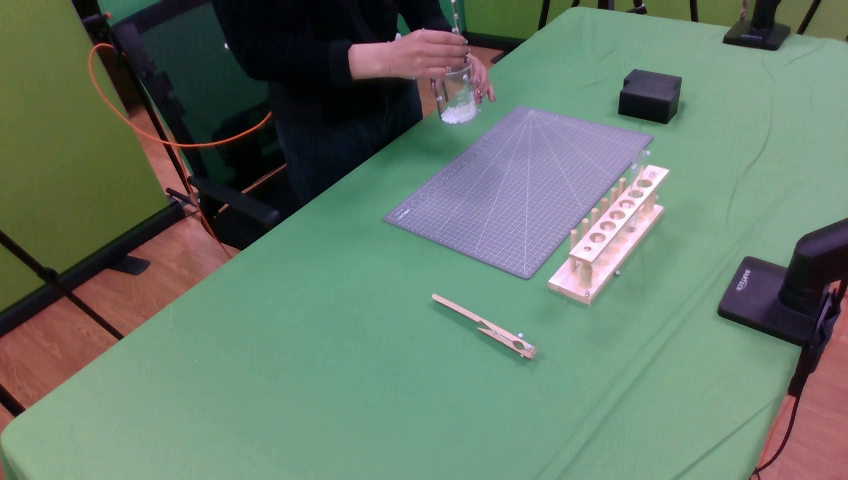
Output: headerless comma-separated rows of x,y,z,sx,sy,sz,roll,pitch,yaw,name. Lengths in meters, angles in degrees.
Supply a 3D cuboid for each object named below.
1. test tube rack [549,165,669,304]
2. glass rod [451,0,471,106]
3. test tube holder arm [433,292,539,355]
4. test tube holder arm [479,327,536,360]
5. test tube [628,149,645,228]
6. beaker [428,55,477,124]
0.279,-0.018,0.902,0.066,0.085,0.243,24,50,33,test tube rack
0.064,-0.312,1.025,0.008,0.201,0.008,-7,47,8,glass rod
0.081,0.113,0.832,0.177,0.015,0.013,28,82,36,test tube holder arm
0.110,0.134,0.805,0.087,0.015,0.010,29,83,36,test tube holder arm
0.309,-0.071,0.882,0.017,0.151,0.017,-7,46,8,test tube
0.052,-0.261,1.062,0.084,0.101,0.073,-25,39,-17,beaker
